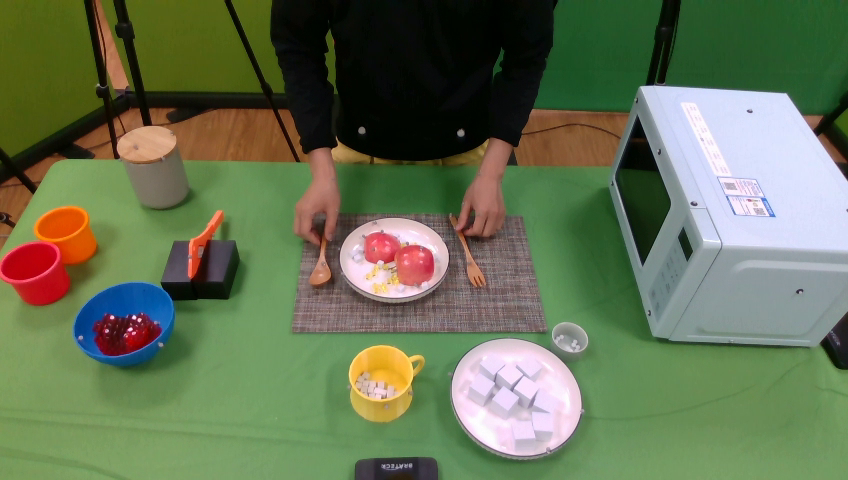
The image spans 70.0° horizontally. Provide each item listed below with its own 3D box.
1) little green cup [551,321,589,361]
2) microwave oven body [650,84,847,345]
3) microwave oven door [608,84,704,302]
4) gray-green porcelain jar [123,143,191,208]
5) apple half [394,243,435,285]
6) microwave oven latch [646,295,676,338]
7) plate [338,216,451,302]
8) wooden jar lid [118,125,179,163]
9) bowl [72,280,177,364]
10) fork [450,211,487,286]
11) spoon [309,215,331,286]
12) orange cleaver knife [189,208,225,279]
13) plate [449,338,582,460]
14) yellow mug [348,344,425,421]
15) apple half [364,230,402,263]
[{"bbox_3d":[0.247,0.175,1.033,0.061,0.039,0.061,2,45,-2],"label":"little green cup"},{"bbox_3d":[0.569,-0.054,1.116,0.326,0.261,0.439,2,46,-1],"label":"microwave oven body"},{"bbox_3d":[0.424,-0.096,1.138,0.039,0.245,0.353,2,47,-1],"label":"microwave oven door"},{"bbox_3d":[-0.531,-0.137,1.213,0.106,0.127,0.105,2,47,-2],"label":"gray-green porcelain jar"},{"bbox_3d":[-0.017,0.036,1.120,0.075,0.053,0.080,1,46,-6],"label":"apple half"},{"bbox_3d":[0.413,0.133,1.060,0.030,0.029,0.078,4,46,1],"label":"microwave oven latch"},{"bbox_3d":[-0.054,0.038,1.138,0.209,0.038,0.208,2,46,-2],"label":"plate"},{"bbox_3d":[-0.528,-0.181,1.167,0.108,0.021,0.107,4,48,-4],"label":"wooden jar lid"},{"bbox_3d":[-0.472,0.147,0.982,0.151,0.077,0.150,2,46,-2],"label":"bowl"},{"bbox_3d":[0.083,0.013,1.183,0.028,0.019,0.206,-26,50,8],"label":"fork"},{"bbox_3d":[-0.191,0.016,1.159,0.041,0.022,0.192,-13,46,12],"label":"spoon"},{"bbox_3d":[-0.400,0.002,1.122,0.012,0.077,0.210,4,23,-4],"label":"orange cleaver knife"},{"bbox_3d":[0.141,0.251,0.955,0.208,0.039,0.206,2,46,-2],"label":"plate"},{"bbox_3d":[-0.054,0.217,0.954,0.131,0.064,0.099,-24,53,-25],"label":"yellow mug"},{"bbox_3d":[-0.079,0.005,1.159,0.081,0.033,0.081,3,49,-3],"label":"apple half"}]
